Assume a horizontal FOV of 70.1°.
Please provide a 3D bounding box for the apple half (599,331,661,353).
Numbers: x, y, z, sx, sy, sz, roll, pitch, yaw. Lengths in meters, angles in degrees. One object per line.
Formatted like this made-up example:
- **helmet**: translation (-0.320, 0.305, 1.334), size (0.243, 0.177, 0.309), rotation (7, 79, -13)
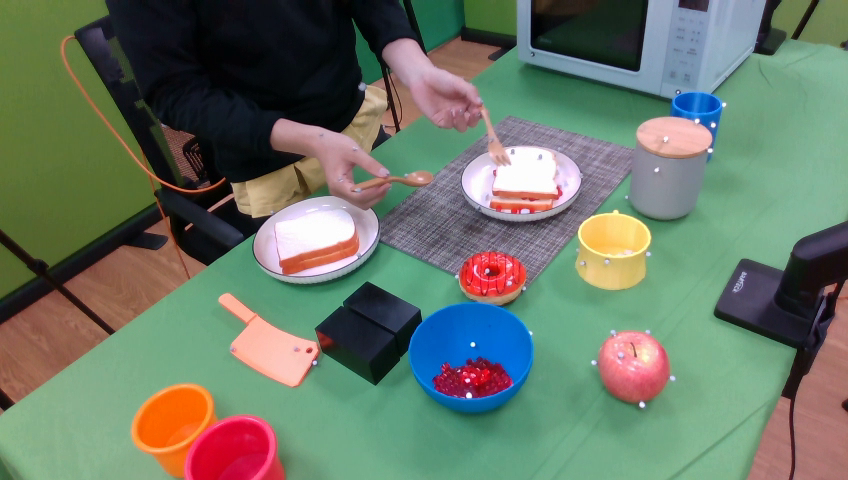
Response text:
- **apple half**: translation (0.249, 0.134, 0.738), size (0.081, 0.081, 0.032), rotation (-1, 46, 7)

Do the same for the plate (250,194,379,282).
- **plate**: translation (-0.174, 0.000, 0.984), size (0.209, 0.038, 0.208), rotation (-3, 40, 3)

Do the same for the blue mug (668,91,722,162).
- **blue mug**: translation (0.475, -0.207, 1.079), size (0.082, 0.106, 0.116), rotation (4, 42, 13)

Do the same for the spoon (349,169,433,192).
- **spoon**: translation (-0.046, -0.086, 0.862), size (0.041, 0.021, 0.195), rotation (23, 19, 26)

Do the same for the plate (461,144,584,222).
- **plate**: translation (0.167, -0.095, 1.040), size (0.207, 0.039, 0.206), rotation (-4, 40, 4)

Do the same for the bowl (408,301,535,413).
- **bowl**: translation (0.059, 0.156, 0.739), size (0.151, 0.077, 0.150), rotation (-4, 40, 4)

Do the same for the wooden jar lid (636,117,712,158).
- **wooden jar lid**: translation (0.377, -0.151, 0.917), size (0.108, 0.021, 0.108), rotation (-2, 41, 3)

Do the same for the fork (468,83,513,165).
- **fork**: translation (0.099, -0.185, 0.944), size (0.028, 0.019, 0.206), rotation (-10, 53, -7)

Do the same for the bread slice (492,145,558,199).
- **bread slice**: translation (0.172, -0.118, 1.028), size (0.107, 0.018, 0.134), rotation (3, 44, 7)

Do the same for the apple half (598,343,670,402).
- **apple half**: translation (0.247, 0.161, 0.710), size (0.081, 0.075, 0.053), rotation (1, 47, 5)

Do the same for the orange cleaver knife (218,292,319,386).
- **orange cleaver knife**: translation (-0.235, 0.136, 0.850), size (0.209, 0.012, 0.077), rotation (25, 56, 30)

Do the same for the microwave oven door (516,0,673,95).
- **microwave oven door**: translation (0.344, -0.458, 1.256), size (0.353, 0.245, 0.039), rotation (26, 51, 33)

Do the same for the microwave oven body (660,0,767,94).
- **microwave oven body**: translation (0.473, -0.517, 1.313), size (0.438, 0.261, 0.327), rotation (26, 51, 34)

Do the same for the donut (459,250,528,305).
- **donut**: translation (0.100, 0.053, 0.872), size (0.099, 0.048, 0.098), rotation (-4, 40, 4)

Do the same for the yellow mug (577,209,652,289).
- **yellow mug**: translation (0.279, 0.005, 0.893), size (0.099, 0.064, 0.130), rotation (5, 41, 15)

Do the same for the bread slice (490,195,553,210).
- **bread slice**: translation (0.173, -0.099, 1.047), size (0.104, 0.019, 0.131), rotation (2, 43, 12)

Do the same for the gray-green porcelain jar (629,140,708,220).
- **gray-green porcelain jar**: translation (0.383, -0.104, 0.958), size (0.106, 0.127, 0.105), rotation (-4, 41, 4)

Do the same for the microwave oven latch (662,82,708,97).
- **microwave oven latch**: translation (0.517, -0.298, 1.203), size (0.078, 0.029, 0.030), rotation (28, 53, 35)
